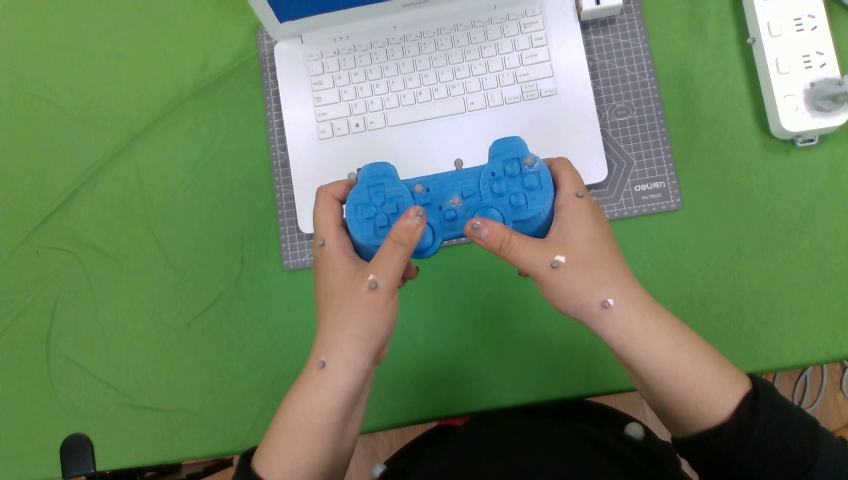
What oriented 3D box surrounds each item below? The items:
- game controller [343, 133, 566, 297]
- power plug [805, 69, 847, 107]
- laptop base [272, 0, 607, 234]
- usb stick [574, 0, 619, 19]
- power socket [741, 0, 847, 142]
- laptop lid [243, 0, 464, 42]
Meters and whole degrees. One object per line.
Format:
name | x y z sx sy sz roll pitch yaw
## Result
game controller | 0.018 -0.017 0.425 0.155 0.051 0.097 -10 89 4
power plug | 0.430 -0.153 0.620 0.072 0.053 0.035 4 83 3
laptop base | 0.010 -0.151 0.694 0.354 0.023 0.235 -10 85 5
usb stick | 0.185 -0.264 0.676 0.059 0.027 0.021 -10 82 9
power socket | 0.393 -0.219 0.652 0.072 0.033 0.226 -8 82 6
laptop lid | -0.027 -0.299 0.596 0.356 0.243 0.013 -11 73 6
